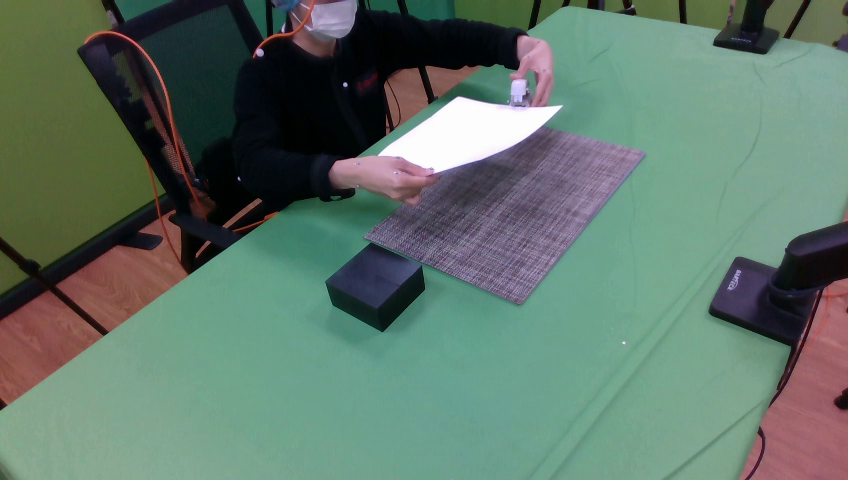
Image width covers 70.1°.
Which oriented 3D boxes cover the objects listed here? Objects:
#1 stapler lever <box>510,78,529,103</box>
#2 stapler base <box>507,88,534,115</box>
[{"bbox_3d":[0.181,-0.291,1.138,0.027,0.040,0.118,4,31,13],"label":"stapler lever"},{"bbox_3d":[0.183,-0.270,1.149,0.041,0.024,0.130,4,30,13],"label":"stapler base"}]
